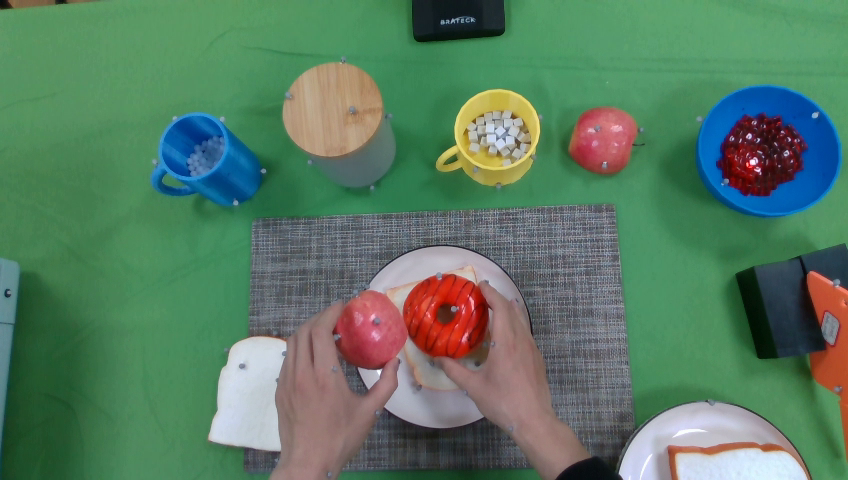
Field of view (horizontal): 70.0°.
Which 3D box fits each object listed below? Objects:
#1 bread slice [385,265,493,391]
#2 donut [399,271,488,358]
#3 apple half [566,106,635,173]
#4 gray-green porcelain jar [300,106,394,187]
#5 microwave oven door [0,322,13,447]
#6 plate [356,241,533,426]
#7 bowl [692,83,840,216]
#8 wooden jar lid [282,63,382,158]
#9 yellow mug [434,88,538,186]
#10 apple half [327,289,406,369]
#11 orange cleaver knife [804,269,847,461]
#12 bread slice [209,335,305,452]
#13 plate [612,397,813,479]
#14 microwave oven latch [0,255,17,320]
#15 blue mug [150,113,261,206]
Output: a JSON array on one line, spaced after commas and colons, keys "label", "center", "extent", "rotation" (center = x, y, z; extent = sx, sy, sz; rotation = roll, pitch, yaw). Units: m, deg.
[{"label": "bread slice", "center": [0.025, 0.105, 0.700], "extent": [0.107, 0.018, 0.133], "rotation": [-18, 79, 2]}, {"label": "donut", "center": [0.022, 0.083, 0.675], "extent": [0.099, 0.048, 0.098], "rotation": [0, 77, 2]}, {"label": "apple half", "center": [0.213, -0.126, 0.726], "extent": [0.074, 0.053, 0.080], "rotation": [20, 82, 11]}, {"label": "gray-green porcelain jar", "center": [-0.092, -0.125, 0.714], "extent": [0.106, 0.127, 0.105], "rotation": [-1, 78, 5]}, {"label": "microwave oven door", "center": [-0.530, 0.252, 0.600], "extent": [0.039, 0.245, 0.354], "rotation": [-3, 78, 5]}, {"label": "plate", "center": [0.020, 0.106, 0.701], "extent": [0.207, 0.039, 0.206], "rotation": [-1, 79, 5]}, {"label": "bowl", "center": [0.374, -0.093, 0.692], "extent": [0.151, 0.077, 0.150], "rotation": [-1, 79, 5]}, {"label": "wooden jar lid", "center": [-0.098, -0.138, 0.654], "extent": [0.108, 0.021, 0.108], "rotation": [-1, 77, 6]}, {"label": "yellow mug", "center": [0.071, -0.116, 0.729], "extent": [0.131, 0.064, 0.099], "rotation": [-26, 78, 0]}, {"label": "apple half", "center": [-0.056, 0.091, 0.595], "extent": [0.081, 0.033, 0.081], "rotation": [0, 89, 4]}, {"label": "orange cleaver knife", "center": [0.433, 0.135, 0.640], "extent": [0.012, 0.077, 0.212], "rotation": [-13, 100, -4]}, {"label": "bread slice", "center": [-0.195, 0.178, 0.716], "extent": [0.105, 0.019, 0.131], "rotation": [5, 81, 5]}, {"label": "plate", "center": [0.303, 0.273, 0.647], "extent": [0.209, 0.038, 0.208], "rotation": [-1, 79, 5]}, {"label": "microwave oven latch", "center": [-0.523, 0.058, 0.741], "extent": [0.030, 0.029, 0.079], "rotation": [0, 79, 5]}, {"label": "blue mug", "center": [-0.270, -0.087, 0.733], "extent": [0.116, 0.106, 0.082], "rotation": [-28, 77, -1]}]
